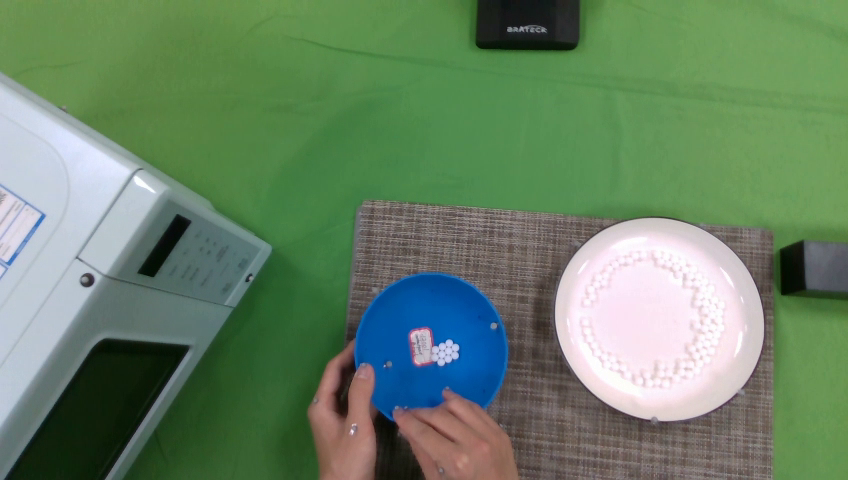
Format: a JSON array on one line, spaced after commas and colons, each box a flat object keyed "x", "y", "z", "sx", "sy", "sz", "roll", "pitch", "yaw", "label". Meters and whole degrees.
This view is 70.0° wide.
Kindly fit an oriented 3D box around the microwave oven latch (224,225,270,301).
[{"x": -0.199, "y": 0.025, "z": 0.655, "sx": 0.030, "sy": 0.029, "sz": 0.079, "roll": 33, "pitch": 84, "yaw": 9, "label": "microwave oven latch"}]

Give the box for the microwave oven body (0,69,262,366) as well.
[{"x": -0.426, "y": 0.081, "z": 0.562, "sx": 0.325, "sy": 0.261, "sz": 0.441, "roll": 31, "pitch": 83, "yaw": 9, "label": "microwave oven body"}]

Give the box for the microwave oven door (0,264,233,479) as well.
[{"x": -0.324, "y": 0.189, "z": 0.529, "sx": 0.039, "sy": 0.245, "sz": 0.355, "roll": 30, "pitch": 83, "yaw": 10, "label": "microwave oven door"}]

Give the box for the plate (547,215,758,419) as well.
[{"x": 0.231, "y": 0.078, "z": 0.628, "sx": 0.207, "sy": 0.039, "sz": 0.206, "roll": -1, "pitch": 79, "yaw": 4, "label": "plate"}]

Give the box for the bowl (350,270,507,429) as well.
[{"x": -0.002, "y": 0.108, "z": 0.610, "sx": 0.152, "sy": 0.077, "sz": 0.151, "roll": 2, "pitch": 81, "yaw": -11, "label": "bowl"}]
